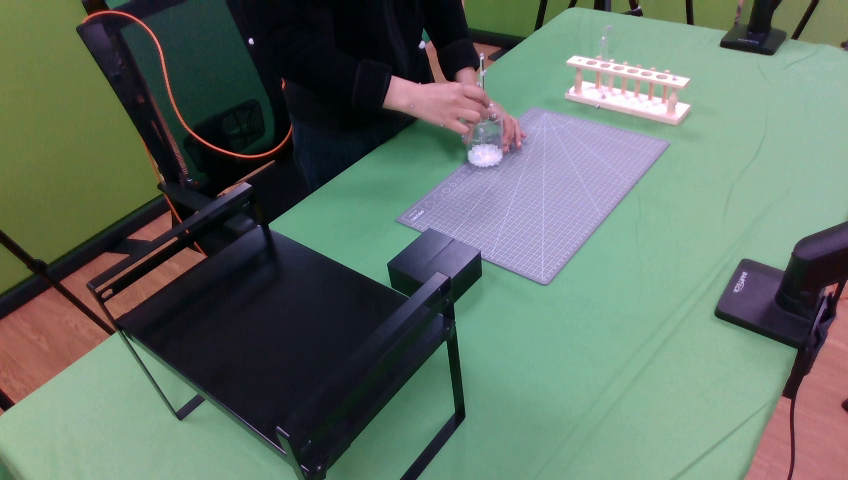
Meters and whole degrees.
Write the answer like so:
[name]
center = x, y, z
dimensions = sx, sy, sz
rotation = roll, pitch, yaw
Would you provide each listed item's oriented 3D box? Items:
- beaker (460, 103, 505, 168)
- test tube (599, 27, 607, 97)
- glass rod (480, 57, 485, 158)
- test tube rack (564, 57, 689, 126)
[beaker]
center = 0.109, -0.191, 1.120
dimensions = 0.083, 0.101, 0.074
rotation = 8, 43, 19
[test tube]
center = 0.358, -0.353, 1.210
dimensions = 0.017, 0.151, 0.017
rotation = -8, 44, 8
[glass rod]
center = 0.104, -0.230, 1.071
dimensions = 0.008, 0.200, 0.008
rotation = -3, 42, 3
[test tube rack]
center = 0.411, -0.311, 1.230
dimensions = 0.240, 0.085, 0.067
rotation = 24, 49, 32
